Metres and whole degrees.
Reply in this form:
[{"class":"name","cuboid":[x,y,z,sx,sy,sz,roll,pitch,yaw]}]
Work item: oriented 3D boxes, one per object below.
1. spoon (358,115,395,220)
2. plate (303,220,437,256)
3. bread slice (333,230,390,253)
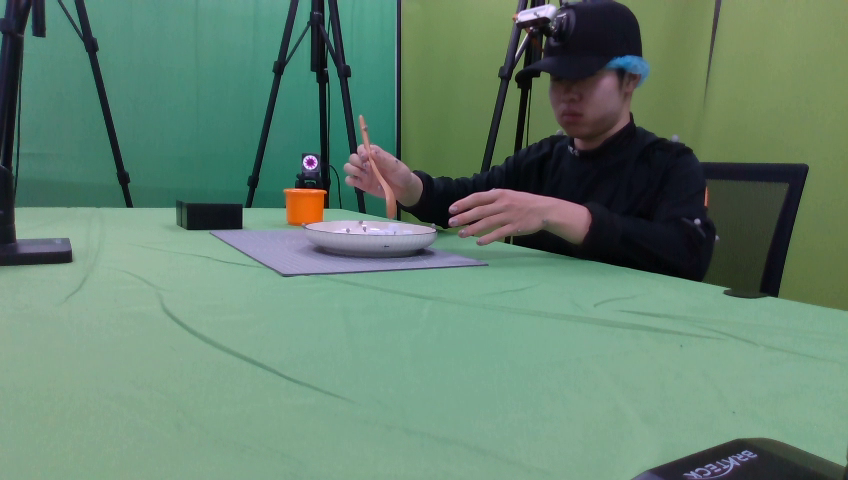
[{"class":"spoon","cuboid":[-0.080,-0.121,0.972,0.021,0.193,0.042,-24,-19,6]},{"class":"plate","cuboid":[-0.084,-0.003,0.951,0.209,0.038,0.209,3,7,0]},{"class":"bread slice","cuboid":[-0.088,0.000,0.947,0.105,0.019,0.131,-4,11,-45]}]
